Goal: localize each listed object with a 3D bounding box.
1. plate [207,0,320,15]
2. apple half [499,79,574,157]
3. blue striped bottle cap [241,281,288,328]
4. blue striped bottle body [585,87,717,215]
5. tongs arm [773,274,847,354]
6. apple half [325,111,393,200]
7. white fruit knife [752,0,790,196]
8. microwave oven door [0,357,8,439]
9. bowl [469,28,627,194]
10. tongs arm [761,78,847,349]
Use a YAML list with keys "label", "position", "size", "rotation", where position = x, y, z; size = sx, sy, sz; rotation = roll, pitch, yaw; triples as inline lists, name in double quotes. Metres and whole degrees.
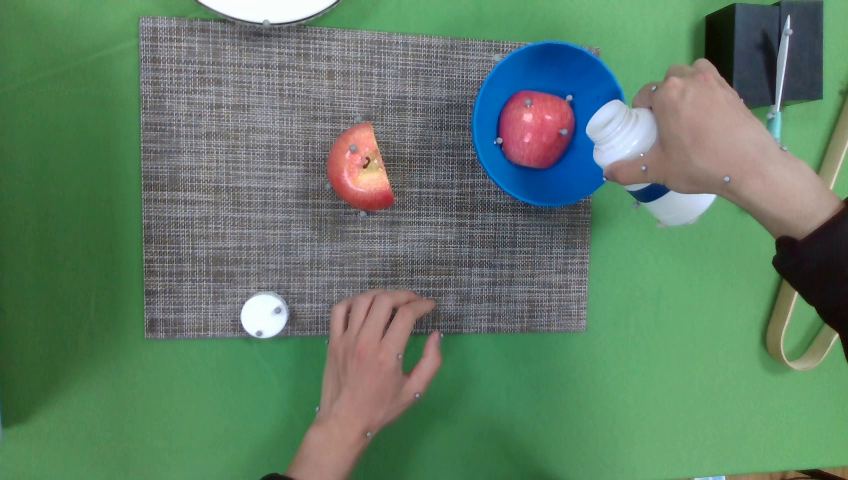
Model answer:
- label: "plate"
  position: [-0.152, -0.307, 0.545]
  size: [0.208, 0.039, 0.208]
  rotation: [-1, 97, -10]
- label: "apple half"
  position: [0.112, -0.118, 0.584]
  size: [0.081, 0.032, 0.081]
  rotation: [-1, 95, -9]
- label: "blue striped bottle cap"
  position: [-0.157, 0.064, 0.594]
  size: [0.045, 0.020, 0.044]
  rotation: [-1, 96, -13]
- label: "blue striped bottle body"
  position: [0.196, -0.081, 0.534]
  size: [0.121, 0.062, 0.063]
  rotation: [37, 89, -19]
- label: "tongs arm"
  position: [0.527, -0.029, 0.699]
  size: [0.051, 0.026, 0.384]
  rotation: [30, 92, -11]
- label: "apple half"
  position: [-0.065, -0.074, 0.566]
  size: [0.053, 0.074, 0.081]
  rotation: [-19, 103, -3]
- label: "white fruit knife"
  position: [0.362, -0.141, 0.630]
  size: [0.016, 0.027, 0.209]
  rotation: [-3, 114, 8]
- label: "microwave oven door"
  position: [-0.383, 0.015, 0.420]
  size: [0.039, 0.243, 0.356]
  rotation: [-2, 97, -9]
- label: "bowl"
  position: [0.110, -0.120, 0.588]
  size: [0.152, 0.076, 0.151]
  rotation: [-1, 96, -10]
- label: "tongs arm"
  position: [0.454, -0.065, 0.686]
  size: [0.028, 0.027, 0.387]
  rotation: [16, 94, -13]
